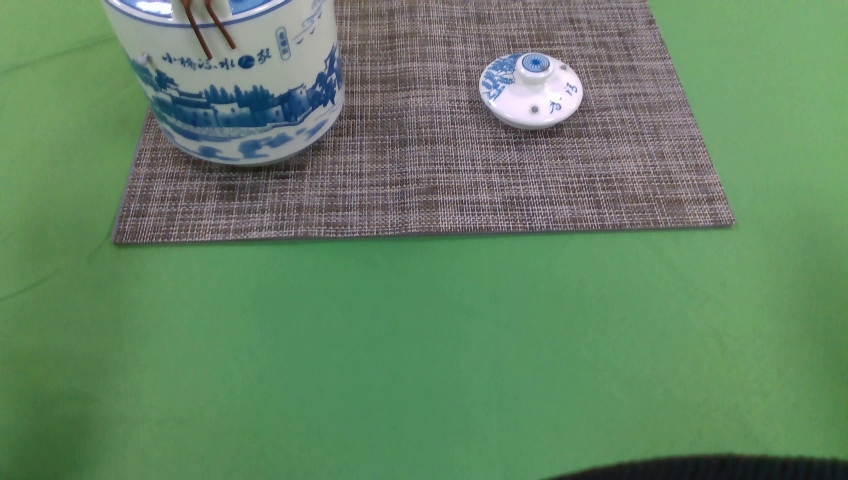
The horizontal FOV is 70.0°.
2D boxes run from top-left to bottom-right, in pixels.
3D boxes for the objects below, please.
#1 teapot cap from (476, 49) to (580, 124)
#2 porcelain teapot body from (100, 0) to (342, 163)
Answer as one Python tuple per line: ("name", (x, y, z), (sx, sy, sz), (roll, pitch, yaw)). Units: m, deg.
("teapot cap", (0.085, -0.131, 0.494), (0.085, 0.044, 0.084), (-1, 56, 1))
("porcelain teapot body", (-0.140, -0.191, 0.416), (0.145, 0.227, 0.203), (-7, 57, -6))
